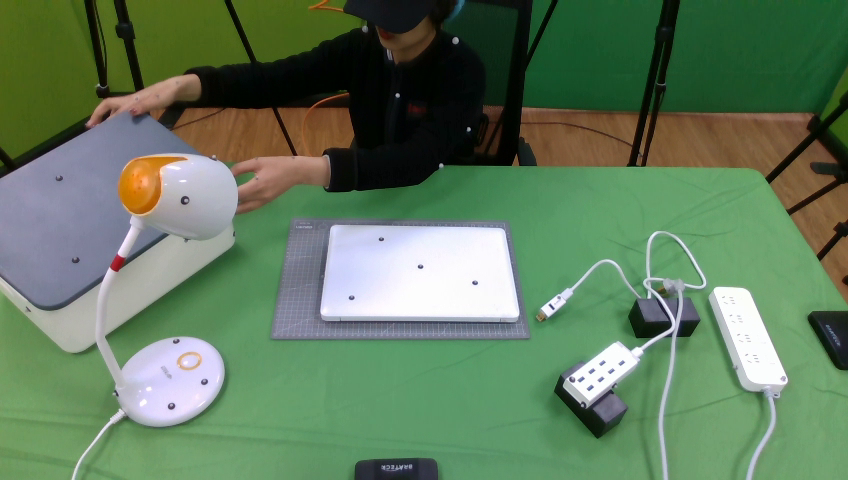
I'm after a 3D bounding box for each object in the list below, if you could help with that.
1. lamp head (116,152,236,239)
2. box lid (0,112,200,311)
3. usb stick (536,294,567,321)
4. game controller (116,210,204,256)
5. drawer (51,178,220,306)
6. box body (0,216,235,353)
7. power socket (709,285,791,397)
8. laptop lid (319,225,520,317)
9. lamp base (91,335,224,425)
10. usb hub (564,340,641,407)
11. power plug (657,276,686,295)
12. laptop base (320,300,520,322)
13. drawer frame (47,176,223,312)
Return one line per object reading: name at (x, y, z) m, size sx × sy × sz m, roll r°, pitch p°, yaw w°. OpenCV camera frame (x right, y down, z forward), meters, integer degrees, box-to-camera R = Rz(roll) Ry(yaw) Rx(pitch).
lamp head at (-0.315, -0.057, 0.748) m, size 0.112 × 0.112 × 0.123 m, roll 26°, pitch 10°, yaw 20°
box lid at (-0.531, -0.068, 0.993) m, size 0.262 × 0.015 × 0.371 m, roll 35°, pitch 52°, yaw 12°
usb stick at (0.226, 0.123, 1.083) m, size 0.059 × 0.027 × 0.021 m, roll -37°, pitch 78°, yaw -8°
game controller at (-0.501, -0.019, 1.142) m, size 0.154 × 0.051 × 0.097 m, roll 24°, pitch 20°, yaw 19°
drawer at (-0.521, -0.002, 1.107) m, size 0.194 × 0.073 × 0.211 m, roll 26°, pitch 50°, yaw 21°
box body at (-0.550, -0.007, 1.068) m, size 0.253 × 0.161 × 0.363 m, roll 30°, pitch 51°, yaw 23°
power socket at (0.567, 0.168, 1.064) m, size 0.072 × 0.033 × 0.225 m, roll 2°, pitch 46°, yaw 0°
laptop lid at (-0.008, 0.052, 1.131) m, size 0.357 × 0.013 × 0.240 m, roll 2°, pitch 43°, yaw -2°
lamp base at (-0.401, 0.171, 0.892) m, size 0.160 × 0.181 × 0.179 m, roll 30°, pitch 53°, yaw 23°
usb hub at (0.278, 0.205, 0.944) m, size 0.125 × 0.025 × 0.049 m, roll -27°, pitch 52°, yaw -28°
power plug at (0.450, 0.087, 1.113) m, size 0.073 × 0.052 × 0.035 m, roll -13°, pitch 72°, yaw -55°
laptop base at (-0.009, 0.062, 1.138) m, size 0.354 × 0.023 × 0.234 m, roll 1°, pitch 42°, yaw -3°
drawer frame at (-0.519, 0.000, 1.106) m, size 0.201 × 0.083 × 0.213 m, roll 26°, pitch 51°, yaw 21°
